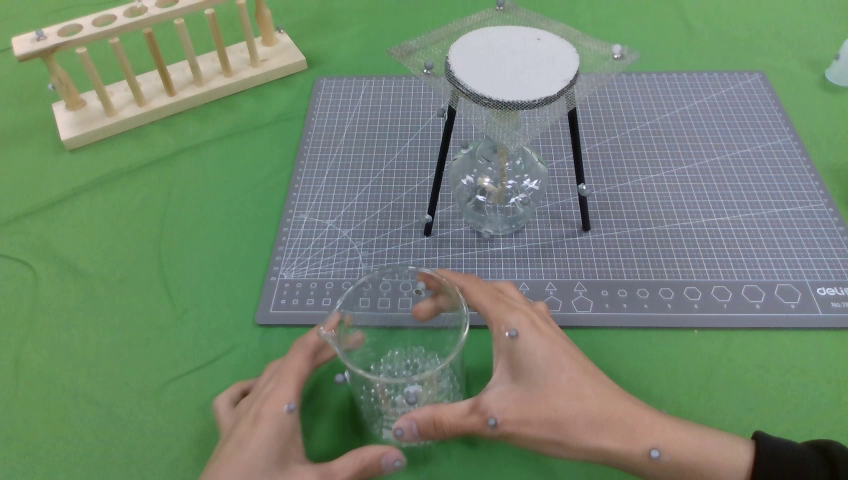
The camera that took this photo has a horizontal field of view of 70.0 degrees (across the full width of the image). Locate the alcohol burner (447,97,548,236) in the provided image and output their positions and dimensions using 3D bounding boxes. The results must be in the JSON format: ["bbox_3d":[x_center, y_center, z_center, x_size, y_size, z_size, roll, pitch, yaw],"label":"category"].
[{"bbox_3d":[0.056,-0.059,0.453,0.078,0.120,0.077,0,52,1],"label":"alcohol burner"}]

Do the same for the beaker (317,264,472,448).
[{"bbox_3d":[-0.013,0.074,0.359,0.084,0.101,0.073,-5,50,0],"label":"beaker"}]

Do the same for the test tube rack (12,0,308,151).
[{"bbox_3d":[-0.245,-0.179,0.588,0.242,0.086,0.066,-24,53,-17],"label":"test tube rack"}]

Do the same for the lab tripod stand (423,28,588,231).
[{"bbox_3d":[0.064,-0.076,0.454,0.148,0.132,0.147,0,49,1],"label":"lab tripod stand"}]

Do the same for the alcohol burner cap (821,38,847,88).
[{"bbox_3d":[0.410,-0.174,0.582,0.034,0.048,0.033,-1,50,2],"label":"alcohol burner cap"}]

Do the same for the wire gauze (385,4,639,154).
[{"bbox_3d":[0.057,-0.117,0.400,0.121,0.011,0.124,-34,57,-24],"label":"wire gauze"}]

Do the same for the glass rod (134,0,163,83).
[{"bbox_3d":[-0.257,-0.222,0.538,0.008,0.201,0.008,2,50,-2],"label":"glass rod"}]
